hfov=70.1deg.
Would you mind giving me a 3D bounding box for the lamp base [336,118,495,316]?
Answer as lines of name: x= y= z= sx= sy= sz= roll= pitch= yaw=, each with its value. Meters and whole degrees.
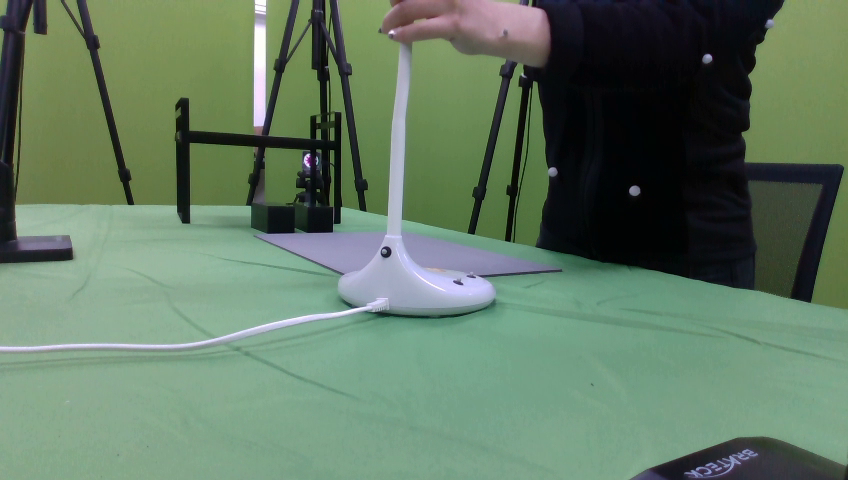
lamp base: x=-0.009 y=-0.025 z=0.589 sx=0.160 sy=0.180 sz=0.179 roll=4 pitch=10 yaw=14
